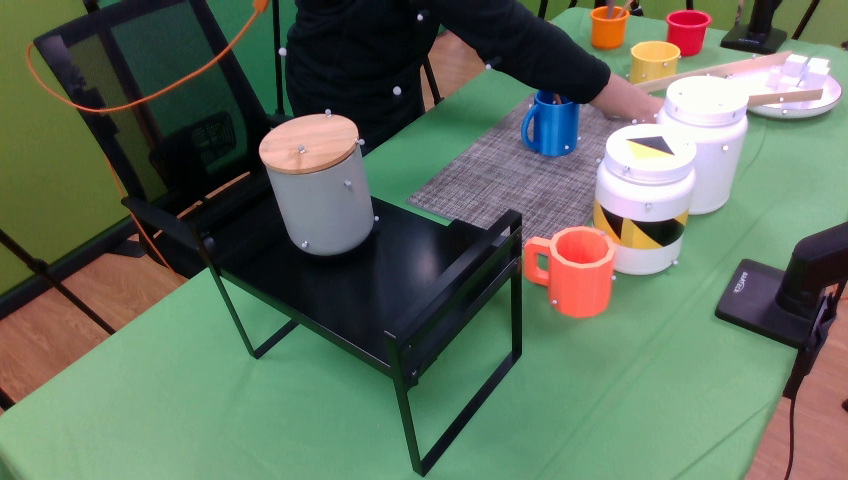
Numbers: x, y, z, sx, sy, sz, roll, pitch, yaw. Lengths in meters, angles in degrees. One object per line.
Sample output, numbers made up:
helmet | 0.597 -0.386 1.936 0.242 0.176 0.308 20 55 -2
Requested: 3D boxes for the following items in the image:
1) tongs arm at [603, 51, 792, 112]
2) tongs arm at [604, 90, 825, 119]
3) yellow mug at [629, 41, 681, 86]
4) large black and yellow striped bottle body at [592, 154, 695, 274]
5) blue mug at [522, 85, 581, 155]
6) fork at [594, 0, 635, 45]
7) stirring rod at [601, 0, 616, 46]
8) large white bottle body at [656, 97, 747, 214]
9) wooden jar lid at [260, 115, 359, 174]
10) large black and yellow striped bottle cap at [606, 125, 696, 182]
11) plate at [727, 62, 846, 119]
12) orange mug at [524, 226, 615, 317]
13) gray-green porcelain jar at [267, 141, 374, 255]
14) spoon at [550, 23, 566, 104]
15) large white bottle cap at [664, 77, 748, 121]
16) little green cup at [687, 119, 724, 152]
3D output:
tongs arm | 0.552 -0.320 1.224 0.384 0.027 0.050 -11 44 7
tongs arm | 0.546 -0.262 1.163 0.386 0.028 0.028 -1 50 18
yellow mug | 0.495 -0.389 1.321 0.100 0.064 0.130 -14 40 -6
large black and yellow striped bottle body | 0.313 -0.056 0.872 0.131 0.185 0.130 -4 41 4
blue mug | 0.234 -0.219 1.127 0.117 0.106 0.081 -21 42 -15
fork | 0.484 -0.552 1.447 0.207 0.019 0.028 -51 47 17
stirring rod | 0.452 -0.554 1.464 0.014 0.006 0.176 11 86 15
large white bottle body | 0.431 -0.148 0.959 0.130 0.185 0.130 -4 41 4
wooden jar lid | -0.124 -0.101 0.662 0.108 0.021 0.108 -4 41 4
large black and yellow striped bottle cap | 0.305 -0.119 0.816 0.115 0.019 0.114 -5 41 5
plate | 0.710 -0.292 1.198 0.207 0.039 0.206 -4 40 4
orange mug | 0.201 0.039 0.845 0.125 0.101 0.083 18 46 21
gray-green porcelain jar | -0.117 -0.054 0.703 0.106 0.127 0.105 -4 40 4
spoon | 0.247 -0.299 1.117 0.021 0.194 0.041 -17 25 -2
large white bottle cap | 0.421 -0.212 0.905 0.115 0.018 0.114 -4 40 4
little green cup | 0.514 -0.191 1.108 0.061 0.039 0.061 -4 40 4
